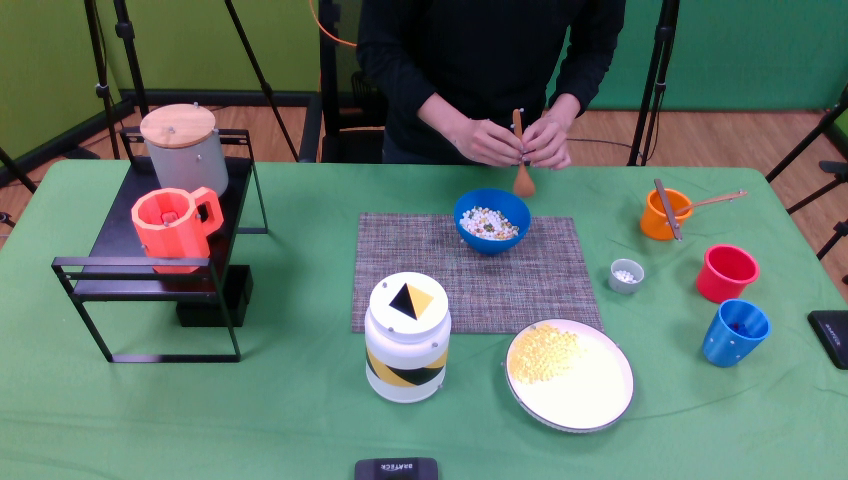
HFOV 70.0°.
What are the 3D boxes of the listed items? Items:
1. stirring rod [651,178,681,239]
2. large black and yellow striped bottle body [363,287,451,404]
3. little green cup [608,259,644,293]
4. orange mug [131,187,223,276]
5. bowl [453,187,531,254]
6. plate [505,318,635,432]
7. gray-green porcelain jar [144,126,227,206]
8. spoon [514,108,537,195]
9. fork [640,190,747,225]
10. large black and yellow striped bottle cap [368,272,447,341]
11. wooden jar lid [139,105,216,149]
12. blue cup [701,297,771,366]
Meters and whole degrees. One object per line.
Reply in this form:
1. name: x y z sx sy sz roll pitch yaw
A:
1. stirring rod: 0.480 -0.065 1.204 0.014 0.006 0.175 3 46 -3
2. large black and yellow striped bottle body: -0.027 0.153 0.935 0.131 0.185 0.130 2 46 -2
3. little green cup: 0.379 0.070 1.147 0.061 0.039 0.061 3 45 -2
4. orange mug: -0.354 -0.022 0.888 0.083 0.101 0.126 31 55 24
5. bowl: 0.128 -0.025 1.187 0.151 0.077 0.150 2 46 -2
6. plate: 0.235 0.221 0.991 0.209 0.038 0.208 2 46 -2
7. gray-green porcelain jar: -0.375 -0.126 0.967 0.106 0.127 0.105 2 46 -2
8. spoon: 0.175 -0.153 1.085 0.041 0.195 0.021 0 41 18
9. fork: 0.533 -0.065 1.211 0.207 0.019 0.028 -22 27 38
10. large black and yellow striped bottle cap: -0.023 0.093 0.875 0.115 0.019 0.114 3 46 -3
11. wooden jar lid: -0.372 -0.169 0.920 0.108 0.021 0.107 4 44 -4
12. blue cup: 0.519 0.162 1.025 0.093 0.101 0.092 3 45 -3
